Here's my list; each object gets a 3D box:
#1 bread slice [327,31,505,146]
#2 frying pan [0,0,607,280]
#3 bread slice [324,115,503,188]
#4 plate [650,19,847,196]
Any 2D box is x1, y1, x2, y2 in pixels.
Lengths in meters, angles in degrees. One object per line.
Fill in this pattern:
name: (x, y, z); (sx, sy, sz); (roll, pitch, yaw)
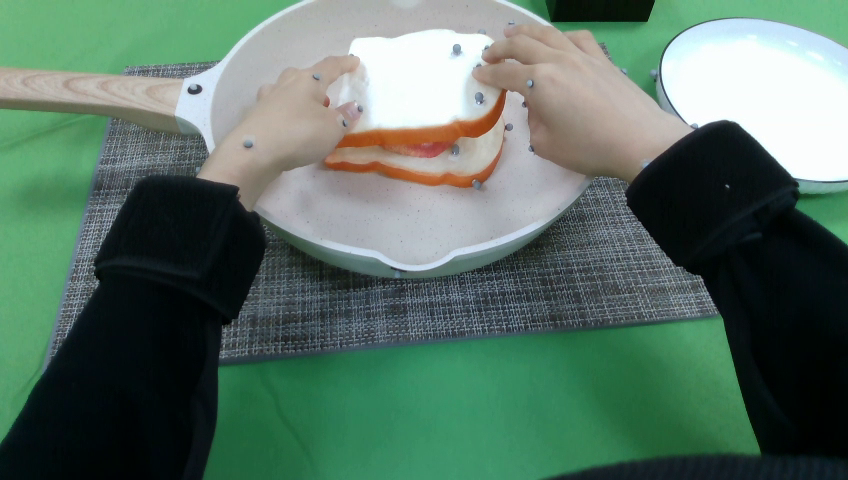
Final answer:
bread slice: (-0.004, -0.119, 0.462); (0.131, 0.019, 0.104); (0, 61, 11)
frying pan: (-0.116, -0.095, 0.450); (0.489, 0.103, 0.303); (5, 53, -9)
bread slice: (-0.004, -0.088, 0.496); (0.134, 0.018, 0.106); (8, 56, 2)
plate: (0.298, -0.114, 0.526); (0.208, 0.039, 0.205); (1, 54, -1)
